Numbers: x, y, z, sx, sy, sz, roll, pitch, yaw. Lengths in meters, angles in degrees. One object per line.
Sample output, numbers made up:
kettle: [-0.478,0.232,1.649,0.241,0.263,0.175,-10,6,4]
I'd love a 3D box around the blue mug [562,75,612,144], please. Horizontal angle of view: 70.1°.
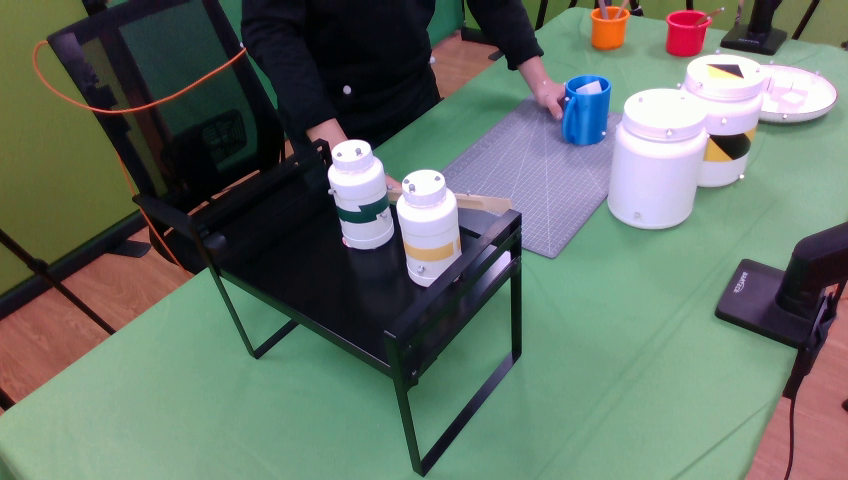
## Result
blue mug: [0.298,-0.239,1.143,0.117,0.106,0.081,-37,49,-29]

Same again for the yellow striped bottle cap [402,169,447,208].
yellow striped bottle cap: [0.000,-0.052,0.605,0.044,0.019,0.044,-5,42,5]

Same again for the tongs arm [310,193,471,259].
tongs arm: [-0.070,-0.026,0.943,0.384,0.028,0.028,17,53,44]

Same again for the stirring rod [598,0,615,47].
stirring rod: [0.437,-0.551,1.462,0.014,0.006,0.175,-11,83,1]

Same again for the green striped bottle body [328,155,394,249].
green striped bottle body: [-0.073,-0.053,0.699,0.063,0.120,0.063,-5,41,4]

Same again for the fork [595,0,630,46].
fork: [0.480,-0.556,1.453,0.028,0.019,0.207,41,103,40]

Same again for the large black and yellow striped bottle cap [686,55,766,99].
large black and yellow striped bottle cap: [0.474,-0.258,0.952,0.115,0.019,0.114,-5,41,5]

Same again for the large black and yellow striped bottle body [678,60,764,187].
large black and yellow striped bottle body: [0.482,-0.196,1.008,0.131,0.185,0.130,-4,41,4]

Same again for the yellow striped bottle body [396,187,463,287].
yellow striped bottle body: [0.006,-0.013,0.638,0.063,0.121,0.062,-5,41,4]

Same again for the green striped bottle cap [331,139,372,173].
green striped bottle cap: [-0.080,-0.093,0.666,0.044,0.020,0.044,-3,41,3]

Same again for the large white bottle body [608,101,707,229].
large white bottle body: [0.361,-0.124,0.941,0.130,0.185,0.130,-5,41,4]

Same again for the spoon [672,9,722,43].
spoon: [0.606,-0.476,1.345,0.042,0.021,0.193,-6,-3,-2]

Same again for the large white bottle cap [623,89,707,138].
large white bottle cap: [0.352,-0.187,0.886,0.115,0.018,0.114,-4,41,4]

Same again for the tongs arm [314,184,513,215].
tongs arm: [-0.033,-0.062,0.978,0.381,0.027,0.051,11,44,38]

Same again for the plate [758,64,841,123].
plate: [0.694,-0.283,1.189,0.207,0.039,0.206,-4,40,4]
